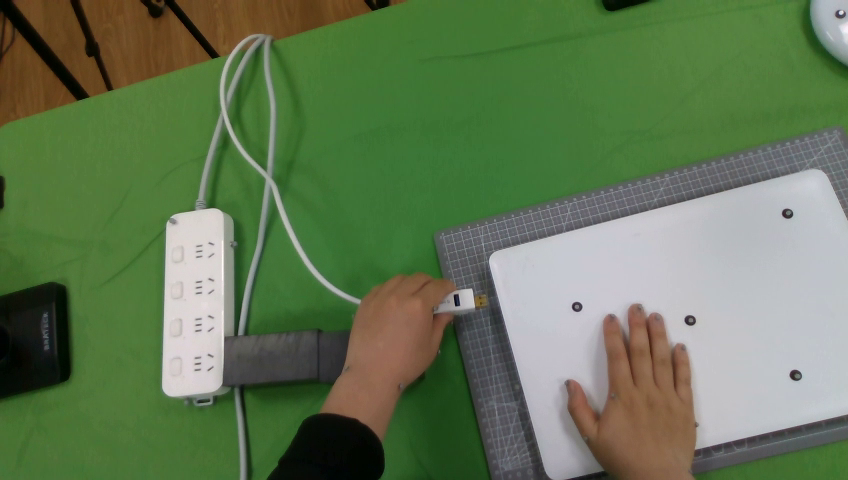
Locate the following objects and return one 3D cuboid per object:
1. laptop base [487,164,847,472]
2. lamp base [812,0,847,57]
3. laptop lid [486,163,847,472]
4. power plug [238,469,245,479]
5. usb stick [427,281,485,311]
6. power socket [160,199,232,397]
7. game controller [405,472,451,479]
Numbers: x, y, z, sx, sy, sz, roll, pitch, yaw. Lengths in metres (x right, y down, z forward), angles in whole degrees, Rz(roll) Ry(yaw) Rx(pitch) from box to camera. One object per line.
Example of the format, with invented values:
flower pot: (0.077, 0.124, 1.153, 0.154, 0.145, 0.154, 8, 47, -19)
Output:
laptop base: (0.258, 0.073, 0.605, 0.354, 0.023, 0.234, -15, 76, 4)
lamp base: (0.499, -0.288, 0.585, 0.160, 0.181, 0.178, 19, 75, 14)
laptop lid: (0.257, 0.073, 0.595, 0.356, 0.013, 0.240, -13, 76, 5)
power plug: (-0.206, 0.277, 0.619, 0.052, 0.035, 0.072, -18, 31, 28)
usb stick: (0.033, 0.057, 0.616, 0.059, 0.027, 0.021, -6, 70, -4)
power socket: (-0.253, 0.059, 0.679, 0.072, 0.033, 0.225, -7, 73, 5)
game controller: (-0.009, 0.296, 0.570, 0.096, 0.052, 0.155, 36, 82, 19)
